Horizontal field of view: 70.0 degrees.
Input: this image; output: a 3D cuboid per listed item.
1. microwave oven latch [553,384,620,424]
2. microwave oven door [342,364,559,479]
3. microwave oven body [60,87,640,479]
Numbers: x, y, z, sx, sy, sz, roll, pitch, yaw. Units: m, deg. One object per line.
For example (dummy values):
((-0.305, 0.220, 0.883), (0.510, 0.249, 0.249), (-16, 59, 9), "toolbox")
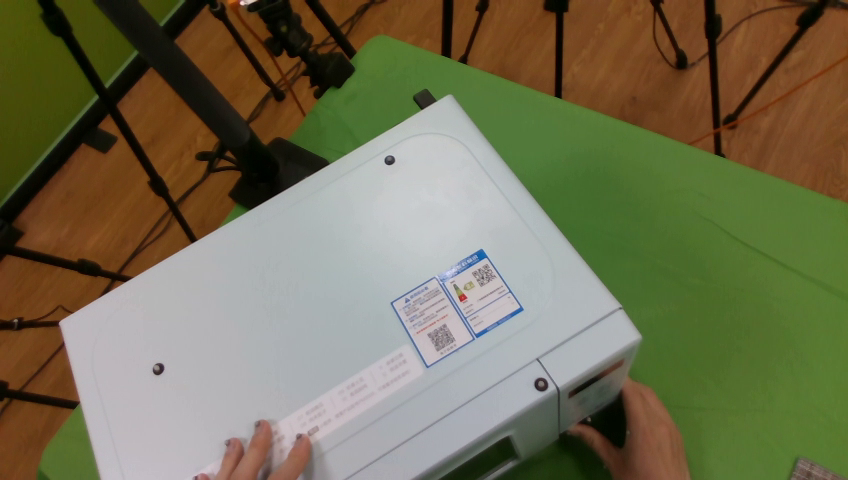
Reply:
((0.173, 0.170, 0.661), (0.079, 0.030, 0.030), (-27, 63, -1), "microwave oven latch")
((-0.035, 0.240, 0.557), (0.356, 0.246, 0.039), (-31, 61, -4), "microwave oven door")
((-0.069, 0.112, 0.631), (0.442, 0.262, 0.323), (-31, 63, -3), "microwave oven body")
